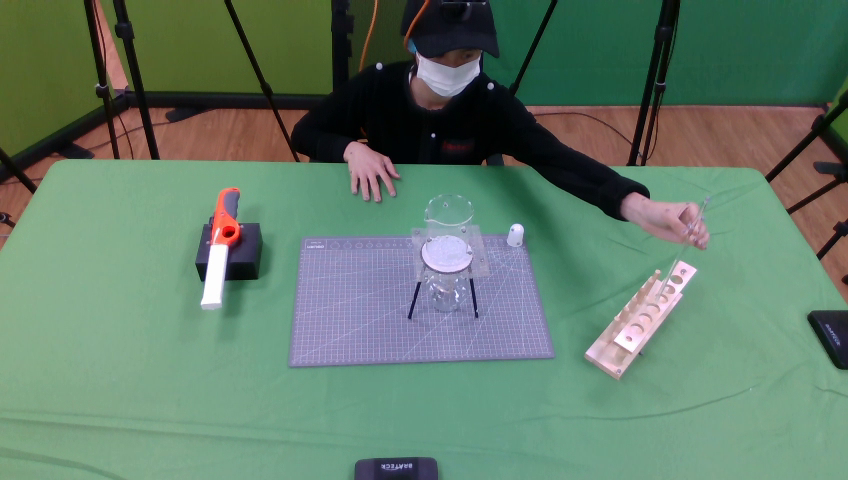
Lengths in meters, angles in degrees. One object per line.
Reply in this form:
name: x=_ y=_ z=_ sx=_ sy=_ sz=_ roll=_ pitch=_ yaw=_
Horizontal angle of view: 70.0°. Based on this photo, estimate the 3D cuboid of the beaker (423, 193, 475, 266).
beaker: x=0.036 y=-0.013 z=0.973 sx=0.084 sy=0.101 sz=0.073 roll=-18 pitch=48 yaw=-19

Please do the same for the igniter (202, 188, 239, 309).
igniter: x=-0.367 y=0.006 z=1.095 sx=0.057 sy=0.025 sz=0.274 roll=-2 pitch=49 yaw=-7

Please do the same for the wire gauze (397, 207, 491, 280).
wire gauze: x=0.032 y=0.006 z=1.001 sx=0.125 sy=0.011 sz=0.120 roll=-20 pitch=52 yaw=-16

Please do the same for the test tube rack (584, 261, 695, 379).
test tube rack: x=0.380 y=0.127 z=1.062 sx=0.066 sy=0.085 sz=0.242 roll=34 pitch=53 yaw=26

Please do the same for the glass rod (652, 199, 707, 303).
glass rod: x=0.403 y=0.022 z=0.961 sx=0.008 sy=0.200 sz=0.008 roll=9 pitch=33 yaw=-6

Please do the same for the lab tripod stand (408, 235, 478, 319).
lab tripod stand: x=0.032 y=0.065 z=1.057 sx=0.148 sy=0.132 sz=0.147 roll=1 pitch=45 yaw=-1

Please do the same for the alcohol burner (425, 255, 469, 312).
alcohol burner: x=0.041 y=0.072 z=1.065 sx=0.078 sy=0.120 sz=0.077 roll=1 pitch=46 yaw=-1

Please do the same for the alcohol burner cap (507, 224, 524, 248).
alcohol burner cap: x=0.184 y=-0.010 z=1.206 sx=0.034 sy=0.048 sz=0.033 roll=1 pitch=45 yaw=0
